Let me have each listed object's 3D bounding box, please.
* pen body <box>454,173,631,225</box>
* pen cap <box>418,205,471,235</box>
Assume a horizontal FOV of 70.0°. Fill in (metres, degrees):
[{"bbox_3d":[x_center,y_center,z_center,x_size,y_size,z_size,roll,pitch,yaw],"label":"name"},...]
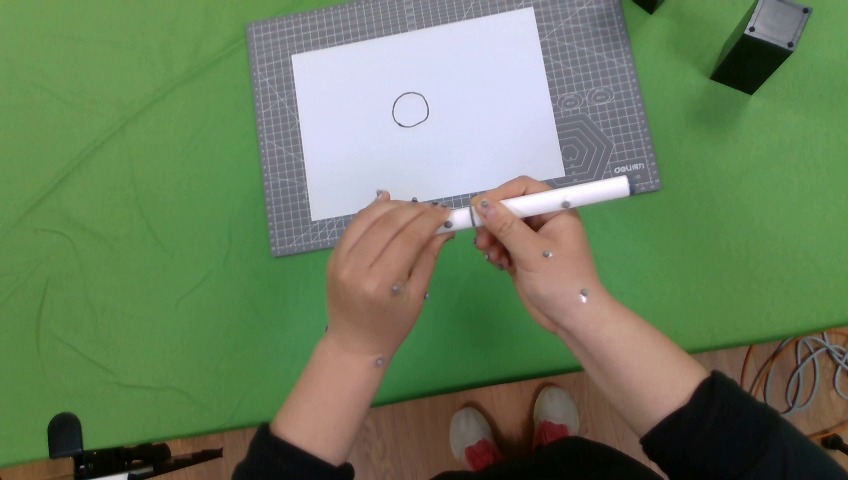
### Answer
[{"bbox_3d":[0.075,-0.027,0.437,0.144,0.017,0.017,-10,79,7],"label":"pen body"},{"bbox_3d":[0.015,-0.014,0.446,0.038,0.017,0.017,-14,79,-3],"label":"pen cap"}]
